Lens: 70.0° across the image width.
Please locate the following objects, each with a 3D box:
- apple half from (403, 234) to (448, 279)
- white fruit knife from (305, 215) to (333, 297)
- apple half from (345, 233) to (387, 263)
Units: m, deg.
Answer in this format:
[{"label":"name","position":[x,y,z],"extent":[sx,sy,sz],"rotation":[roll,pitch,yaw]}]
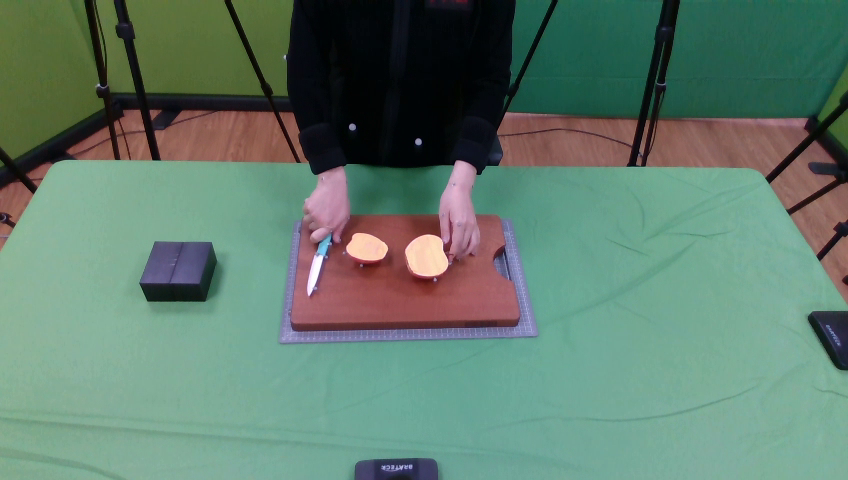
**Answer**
[{"label":"apple half","position":[0.001,0.035,1.101],"extent":[0.075,0.053,0.080],"rotation":[-18,77,-14]},{"label":"white fruit knife","position":[-0.195,0.025,1.125],"extent":[0.027,0.016,0.206],"rotation":[-15,43,21]},{"label":"apple half","position":[-0.110,0.024,1.121],"extent":[0.081,0.033,0.081],"rotation":[13,36,-10]}]
